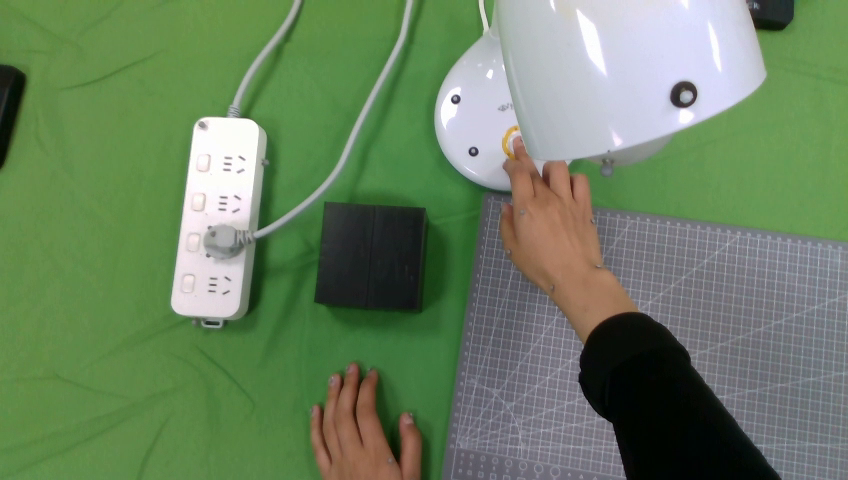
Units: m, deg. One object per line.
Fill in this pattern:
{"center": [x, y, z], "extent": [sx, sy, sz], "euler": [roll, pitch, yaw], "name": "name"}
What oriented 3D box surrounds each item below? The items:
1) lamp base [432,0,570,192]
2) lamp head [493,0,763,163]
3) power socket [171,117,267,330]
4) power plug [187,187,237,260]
{"center": [0.079, -0.154, 0.567], "extent": [0.160, 0.181, 0.178], "euler": [-20, 77, 0], "name": "lamp base"}
{"center": [0.080, -0.111, 0.277], "extent": [0.112, 0.112, 0.123], "euler": [-23, 103, -1], "name": "lamp head"}
{"center": [-0.212, -0.021, 0.634], "extent": [0.072, 0.033, 0.226], "euler": [4, 80, 3], "name": "power socket"}
{"center": [-0.212, -0.015, 0.611], "extent": [0.035, 0.053, 0.072], "euler": [-11, 73, -15], "name": "power plug"}
